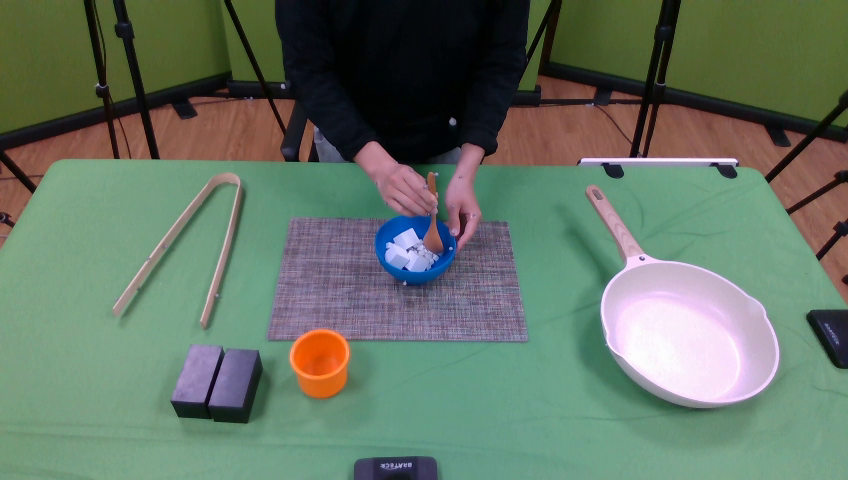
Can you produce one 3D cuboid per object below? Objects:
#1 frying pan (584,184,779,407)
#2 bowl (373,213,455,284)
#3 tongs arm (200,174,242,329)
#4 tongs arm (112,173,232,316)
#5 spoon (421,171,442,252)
[{"bbox_3d":[0.412,0.079,1.097,0.307,0.103,0.484,-10,56,-15],"label":"frying pan"},{"bbox_3d":[-0.020,0.029,1.124,0.151,0.077,0.150,3,46,-3],"label":"bowl"},{"bbox_3d":[-0.387,0.008,1.158,0.028,0.028,0.385,-1,46,-3],"label":"tongs arm"},{"bbox_3d":[-0.467,-0.005,1.157,0.051,0.026,0.382,11,45,4],"label":"tongs arm"},{"bbox_3d":[0.012,-0.045,1.057,0.041,0.195,0.021,16,45,18],"label":"spoon"}]
